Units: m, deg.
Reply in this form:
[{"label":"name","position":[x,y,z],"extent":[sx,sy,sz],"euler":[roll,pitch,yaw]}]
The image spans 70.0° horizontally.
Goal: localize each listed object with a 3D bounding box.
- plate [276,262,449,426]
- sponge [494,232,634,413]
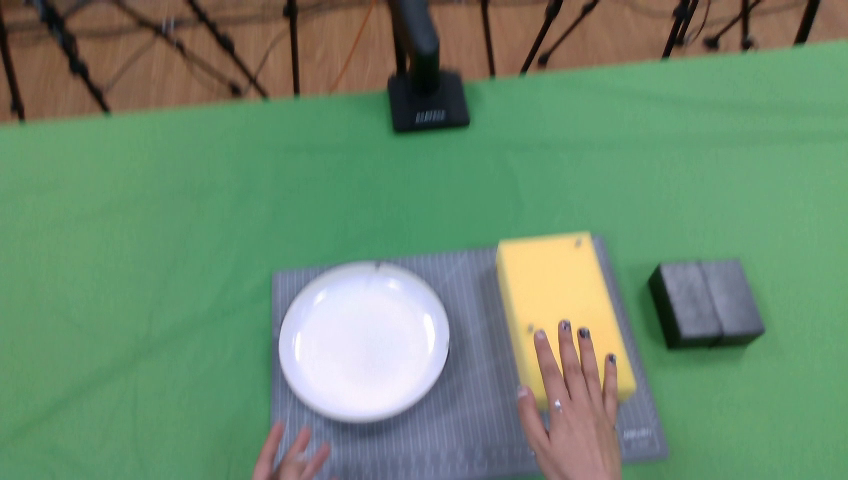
[{"label":"plate","position":[-0.073,0.125,0.740],"extent":[0.209,0.038,0.207],"euler":[0,61,0]},{"label":"sponge","position":[0.164,0.097,0.740],"extent":[0.118,0.061,0.205],"euler":[-7,61,-3]}]
